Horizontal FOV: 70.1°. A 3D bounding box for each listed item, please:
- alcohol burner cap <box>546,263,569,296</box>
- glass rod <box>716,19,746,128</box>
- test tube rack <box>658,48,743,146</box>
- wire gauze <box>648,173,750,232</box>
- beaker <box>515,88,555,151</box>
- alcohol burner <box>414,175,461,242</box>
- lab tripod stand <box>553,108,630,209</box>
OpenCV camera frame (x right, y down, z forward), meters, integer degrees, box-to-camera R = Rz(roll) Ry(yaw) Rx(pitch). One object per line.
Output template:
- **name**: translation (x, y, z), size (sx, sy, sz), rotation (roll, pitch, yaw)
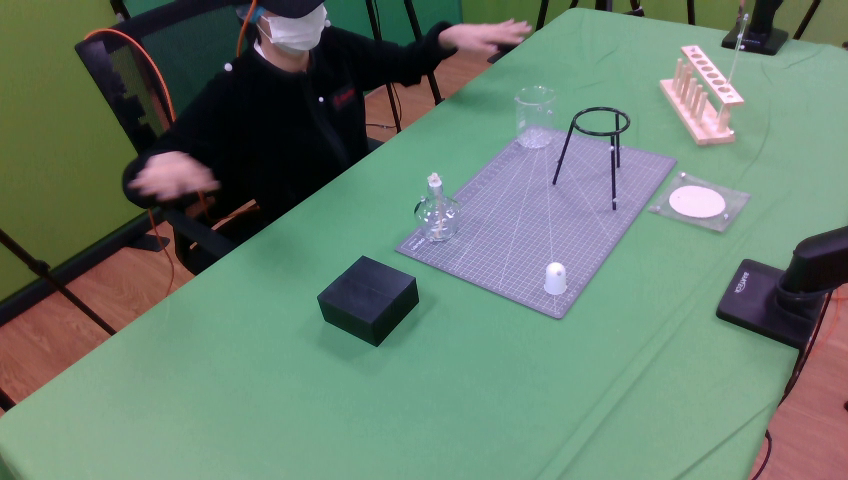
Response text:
- **alcohol burner cap**: translation (0.191, 0.053, 0.862), size (0.034, 0.048, 0.033), rotation (-5, 40, 4)
- **glass rod**: translation (0.549, -0.294, 1.085), size (0.008, 0.200, 0.008), rotation (-1, 33, 1)
- **test tube rack**: translation (0.532, -0.284, 1.181), size (0.067, 0.085, 0.241), rotation (-5, 40, 4)
- **wire gauze**: translation (0.451, -0.062, 0.990), size (0.120, 0.011, 0.125), rotation (26, 49, 32)
- **beaker**: translation (0.213, -0.230, 1.152), size (0.073, 0.101, 0.084), rotation (20, 47, 29)
- **alcohol burner**: translation (0.021, -0.055, 0.963), size (0.078, 0.119, 0.077), rotation (-3, 41, 3)
- **lab tripod stand**: translation (0.292, -0.144, 1.010), size (0.148, 0.132, 0.147), rotation (-5, 38, 4)
